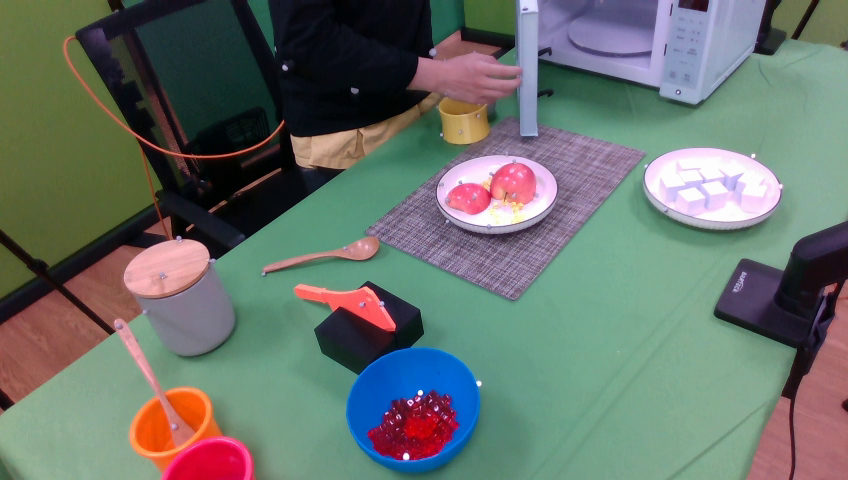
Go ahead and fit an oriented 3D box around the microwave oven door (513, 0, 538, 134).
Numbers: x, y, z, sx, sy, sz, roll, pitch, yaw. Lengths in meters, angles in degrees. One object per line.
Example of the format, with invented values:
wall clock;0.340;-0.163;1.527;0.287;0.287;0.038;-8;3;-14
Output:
microwave oven door;0.204;-0.410;1.222;0.039;0.245;0.354;-2;41;7

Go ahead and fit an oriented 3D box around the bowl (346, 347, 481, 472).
bowl;-0.008;0.205;0.691;0.151;0.077;0.150;-4;40;4

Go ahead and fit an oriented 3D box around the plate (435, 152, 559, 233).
plate;0.124;-0.078;1.026;0.209;0.038;0.208;-4;40;4

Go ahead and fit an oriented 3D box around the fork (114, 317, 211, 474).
fork;-0.309;0.180;0.708;0.028;0.018;0.207;-30;89;-24

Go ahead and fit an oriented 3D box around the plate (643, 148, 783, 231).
plate;0.464;-0.080;0.986;0.207;0.039;0.206;-4;41;4

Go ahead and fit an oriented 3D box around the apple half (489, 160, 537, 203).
apple half;0.154;-0.106;1.030;0.080;0.053;0.075;22;46;31

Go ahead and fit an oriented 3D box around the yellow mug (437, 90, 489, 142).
yellow mug;0.069;-0.257;1.224;0.100;0.064;0.129;-32;44;-26

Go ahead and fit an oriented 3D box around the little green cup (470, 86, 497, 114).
little green cup;0.124;-0.297;1.286;0.061;0.039;0.061;-3;42;3

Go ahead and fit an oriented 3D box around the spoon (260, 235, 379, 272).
spoon;-0.167;0.024;0.966;0.194;0.022;0.041;-10;59;-4

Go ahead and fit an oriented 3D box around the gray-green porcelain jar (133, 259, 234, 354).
gray-green porcelain jar;-0.328;0.087;0.836;0.106;0.127;0.105;-4;41;4

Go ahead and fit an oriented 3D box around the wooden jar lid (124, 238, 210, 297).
wooden jar lid;-0.335;0.039;0.794;0.108;0.021;0.108;-2;40;2

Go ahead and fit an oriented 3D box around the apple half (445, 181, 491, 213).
apple half;0.077;-0.083;1.029;0.081;0.033;0.081;-2;42;2

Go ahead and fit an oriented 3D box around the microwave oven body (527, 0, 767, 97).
microwave oven body;0.473;-0.516;1.313;0.438;0.261;0.327;26;51;34

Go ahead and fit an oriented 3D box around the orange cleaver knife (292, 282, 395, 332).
orange cleaver knife;-0.116;0.091;0.835;0.209;0.077;0.012;2;32;48

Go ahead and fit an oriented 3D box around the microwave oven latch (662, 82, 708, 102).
microwave oven latch;0.517;-0.298;1.202;0.078;0.029;0.030;27;52;34
